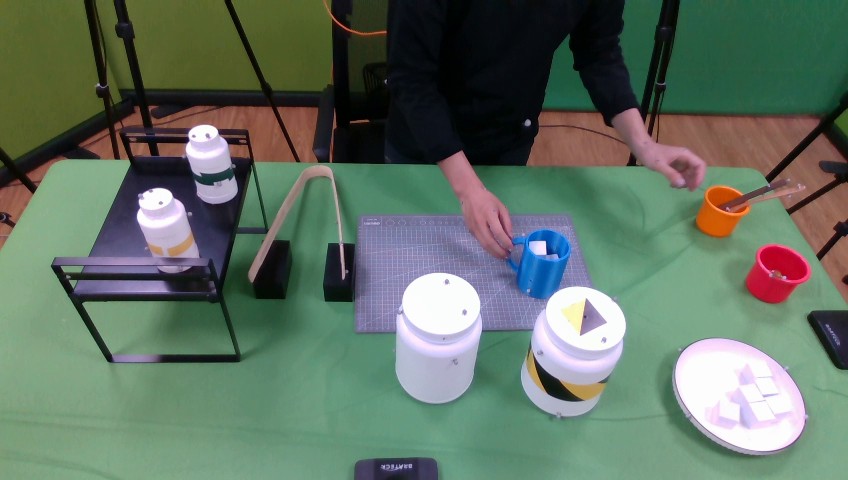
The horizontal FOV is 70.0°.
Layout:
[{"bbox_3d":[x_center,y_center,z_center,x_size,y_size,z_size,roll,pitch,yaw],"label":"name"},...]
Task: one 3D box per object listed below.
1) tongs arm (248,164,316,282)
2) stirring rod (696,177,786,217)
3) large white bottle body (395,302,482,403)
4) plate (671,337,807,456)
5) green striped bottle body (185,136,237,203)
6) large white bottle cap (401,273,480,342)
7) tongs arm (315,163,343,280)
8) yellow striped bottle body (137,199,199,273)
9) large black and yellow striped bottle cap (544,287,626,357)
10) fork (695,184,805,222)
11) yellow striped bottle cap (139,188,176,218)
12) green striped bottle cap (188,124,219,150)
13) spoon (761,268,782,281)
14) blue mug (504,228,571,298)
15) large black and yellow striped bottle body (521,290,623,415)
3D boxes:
[{"bbox_3d":[-0.269,-0.048,1.165,0.028,0.028,0.385,0,34,7],"label":"tongs arm"},{"bbox_3d":[0.647,-0.087,1.244,0.176,0.006,0.014,-26,51,29],"label":"stirring rod"},{"bbox_3d":[0.020,0.153,0.939,0.131,0.185,0.130,2,46,-2],"label":"large white bottle body"},{"bbox_3d":[0.503,0.254,0.984,0.208,0.039,0.206,2,46,-2],"label":"plate"},{"bbox_3d":[-0.341,-0.121,0.969,0.063,0.120,0.063,2,46,-2],"label":"green striped bottle body"},{"bbox_3d":[0.024,0.095,0.878,0.115,0.018,0.114,2,47,-2],"label":"large white bottle cap"},{"bbox_3d":[-0.187,-0.049,1.170,0.051,0.026,0.382,-5,35,-6],"label":"tongs arm"},{"bbox_3d":[-0.366,-0.014,0.863,0.063,0.121,0.062,2,46,-2],"label":"yellow striped bottle body"},{"bbox_3d":[0.232,0.116,0.876,0.115,0.019,0.114,2,46,-1],"label":"large black and yellow striped bottle cap"},{"bbox_3d":[0.657,-0.075,1.229,0.207,0.019,0.028,-23,34,36],"label":"fork"},{"bbox_3d":[-0.363,-0.050,0.826,0.044,0.019,0.044,1,47,0],"label":"yellow striped bottle cap"},{"bbox_3d":[-0.339,-0.158,0.931,0.044,0.020,0.044,3,47,-3],"label":"green striped bottle cap"},{"bbox_3d":[0.638,0.060,1.105,0.041,0.021,0.194,37,11,24],"label":"spoon"},{"bbox_3d":[0.202,0.036,1.116,0.116,0.106,0.082,22,49,16],"label":"blue mug"},{"bbox_3d":[0.228,0.173,0.938,0.131,0.185,0.130,2,47,-2],"label":"large black and yellow striped bottle body"}]
